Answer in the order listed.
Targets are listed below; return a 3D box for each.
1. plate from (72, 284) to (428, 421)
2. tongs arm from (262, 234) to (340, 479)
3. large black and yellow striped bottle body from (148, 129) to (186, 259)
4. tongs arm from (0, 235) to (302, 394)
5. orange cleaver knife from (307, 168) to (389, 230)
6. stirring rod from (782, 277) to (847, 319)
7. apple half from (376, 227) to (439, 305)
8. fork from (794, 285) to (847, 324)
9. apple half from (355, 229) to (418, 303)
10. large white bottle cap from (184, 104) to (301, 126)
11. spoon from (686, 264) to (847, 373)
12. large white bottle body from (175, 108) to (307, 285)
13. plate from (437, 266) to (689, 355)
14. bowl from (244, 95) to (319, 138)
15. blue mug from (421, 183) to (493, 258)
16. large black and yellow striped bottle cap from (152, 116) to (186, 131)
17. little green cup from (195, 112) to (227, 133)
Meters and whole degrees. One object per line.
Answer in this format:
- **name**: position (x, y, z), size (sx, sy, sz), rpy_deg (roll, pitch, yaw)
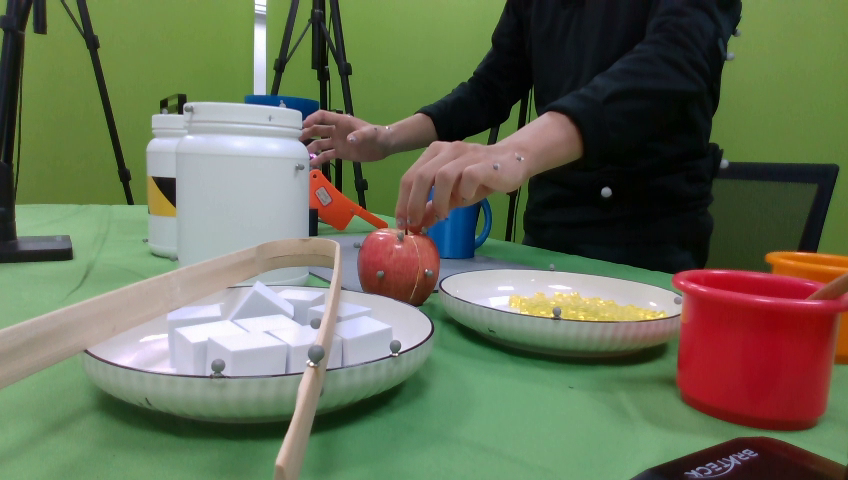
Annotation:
- **plate**: position (-0.102, 0.066, 0.381), size (0.208, 0.039, 0.207), rpy_deg (2, 7, 0)
- **tongs arm**: position (-0.074, 0.039, 0.349), size (0.051, 0.026, 0.384), rpy_deg (-2, 10, -3)
- **large black and yellow striped bottle body**: position (-0.310, -0.073, 0.838), size (0.131, 0.184, 0.130), rpy_deg (2, 8, 0)
- **tongs arm**: position (-0.157, 0.038, 0.351), size (0.028, 0.028, 0.388), rpy_deg (-3, 9, 12)
- **orange cleaver knife**: position (-0.158, -0.060, 1.166), size (0.212, 0.077, 0.012), rpy_deg (34, -12, -31)
- **stirring rod**: position (0.344, 0.019, 0.460), size (0.014, 0.006, 0.176), rpy_deg (-13, -27, -30)
- **apple half**: position (-0.016, 0.025, 0.593), size (0.080, 0.074, 0.053), rpy_deg (6, 4, 43)
- **fork**: position (0.332, 0.018, 0.443), size (0.028, 0.018, 0.207), rpy_deg (-1, -36, -15)
- **apple half**: position (-0.043, 0.027, 0.564), size (0.081, 0.081, 0.033), rpy_deg (9, 6, 42)
- **large white bottle cap**: position (-0.184, -0.126, 0.618), size (0.115, 0.018, 0.115), rpy_deg (2, 8, 0)
- **spoon**: position (0.214, 0.032, 0.328), size (0.042, 0.021, 0.193), rpy_deg (-3, -35, -26)
- **large white bottle body**: position (-0.188, -0.042, 0.630), size (0.131, 0.184, 0.130), rpy_deg (2, 8, 0)
- **plate**: position (0.114, 0.057, 0.517), size (0.209, 0.038, 0.209), rpy_deg (2, 7, 0)
- **bowl**: position (-0.293, -0.251, 1.249), size (0.151, 0.077, 0.151), rpy_deg (2, 7, 0)
- **blue mug**: position (0.052, -0.032, 0.912), size (0.117, 0.106, 0.082), rpy_deg (-1, 8, -24)
- **large black and yellow striped bottle cap**: position (-0.309, -0.155, 0.826), size (0.115, 0.019, 0.115), rpy_deg (3, 6, 0)
- **little green cup**: position (-0.412, -0.227, 1.171), size (0.061, 0.038, 0.061), rpy_deg (3, 8, 0)
